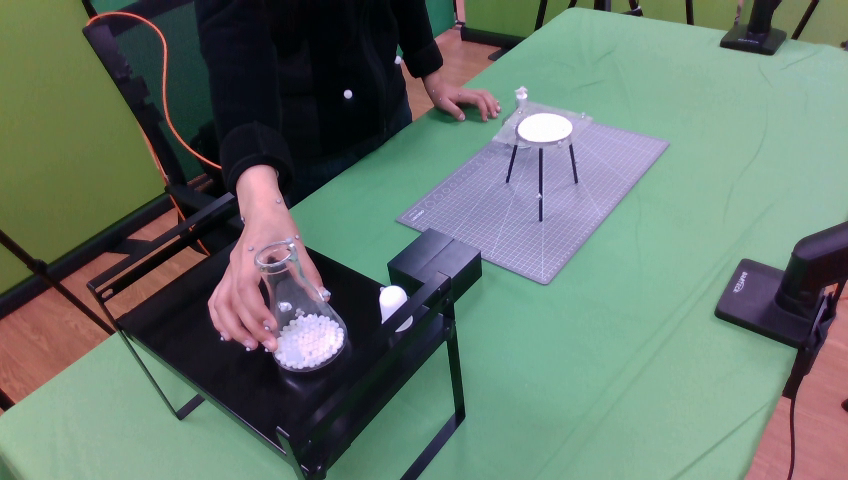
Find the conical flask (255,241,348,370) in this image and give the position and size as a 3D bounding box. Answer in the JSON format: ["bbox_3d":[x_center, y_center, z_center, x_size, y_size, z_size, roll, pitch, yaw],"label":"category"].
[{"bbox_3d":[-0.120,0.058,0.564,0.075,0.122,0.075,-7,38,6],"label":"conical flask"}]

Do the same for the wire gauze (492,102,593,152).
[{"bbox_3d":[0.190,-0.180,0.964,0.120,0.011,0.125,19,48,27],"label":"wire gauze"}]

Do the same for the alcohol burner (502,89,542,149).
[{"bbox_3d":[0.186,-0.235,1.149,0.078,0.119,0.077,-5,42,5],"label":"alcohol burner"}]

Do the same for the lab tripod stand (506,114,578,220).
[{"bbox_3d":[0.198,-0.128,1.005,0.148,0.132,0.147,-3,42,3],"label":"lab tripod stand"}]

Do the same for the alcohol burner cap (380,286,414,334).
[{"bbox_3d":[-0.029,0.068,0.605,0.034,0.048,0.033,-5,40,4],"label":"alcohol burner cap"}]
